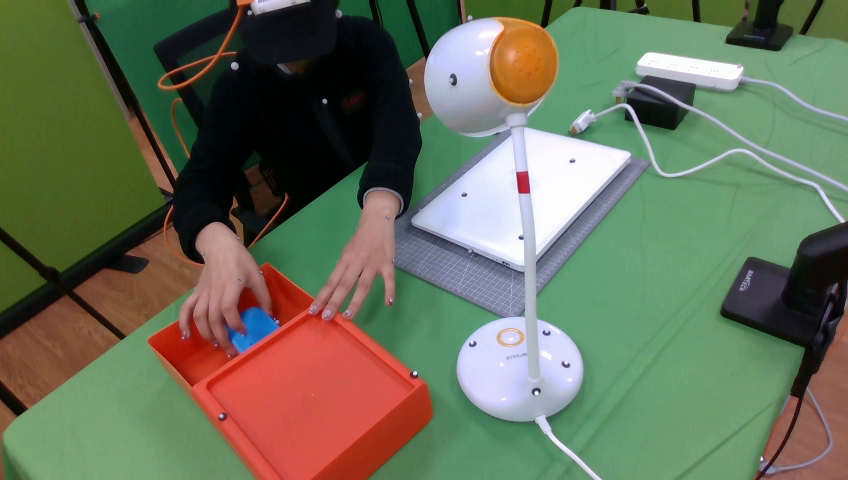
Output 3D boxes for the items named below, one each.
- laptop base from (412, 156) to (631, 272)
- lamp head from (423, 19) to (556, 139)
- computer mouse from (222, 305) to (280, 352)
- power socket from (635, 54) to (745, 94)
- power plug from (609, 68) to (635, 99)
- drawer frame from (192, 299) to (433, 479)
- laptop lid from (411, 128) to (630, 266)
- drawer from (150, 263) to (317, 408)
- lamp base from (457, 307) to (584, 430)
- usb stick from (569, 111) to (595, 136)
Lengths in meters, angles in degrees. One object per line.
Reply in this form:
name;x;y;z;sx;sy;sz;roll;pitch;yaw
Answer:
laptop base;0.176;-0.084;1.055;0.233;0.023;0.355;21;48;36
lamp head;0.068;-0.151;0.563;0.113;0.113;0.122;-21;18;-13
computer mouse;-0.225;0.137;0.832;0.063;0.041;0.116;-34;59;-29
power socket;0.563;-0.358;1.295;0.225;0.033;0.072;21;49;31
power plug;0.406;-0.323;1.233;0.035;0.072;0.052;6;36;-34
drawer frame;-0.134;0.195;0.734;0.202;0.083;0.211;-35;47;-29
laptop lid;0.172;-0.093;1.049;0.239;0.013;0.358;23;50;36
drawer;-0.223;0.146;0.814;0.210;0.073;0.195;29;51;36
lamp base;0.115;0.108;0.713;0.161;0.181;0.178;-16;43;-8
usb stick;0.308;-0.227;1.189;0.059;0.021;0.027;-44;13;-19
